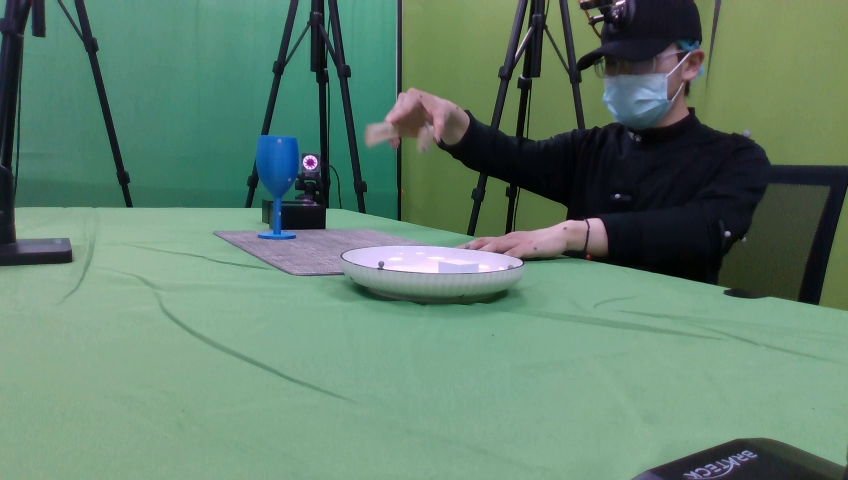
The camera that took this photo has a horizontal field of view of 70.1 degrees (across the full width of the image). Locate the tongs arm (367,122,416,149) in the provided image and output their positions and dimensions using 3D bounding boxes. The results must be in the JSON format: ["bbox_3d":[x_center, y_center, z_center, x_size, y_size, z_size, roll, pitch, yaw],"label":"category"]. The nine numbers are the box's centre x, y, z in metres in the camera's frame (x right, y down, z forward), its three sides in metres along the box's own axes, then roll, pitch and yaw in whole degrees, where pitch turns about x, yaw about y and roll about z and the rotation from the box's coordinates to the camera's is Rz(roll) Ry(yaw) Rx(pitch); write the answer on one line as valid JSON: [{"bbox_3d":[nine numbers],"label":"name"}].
[{"bbox_3d":[-0.046,-0.161,0.909,0.028,0.028,0.387,1,12,5],"label":"tongs arm"}]

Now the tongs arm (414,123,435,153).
[{"bbox_3d":[-0.008,-0.157,0.908,0.051,0.026,0.385,5,12,4],"label":"tongs arm"}]

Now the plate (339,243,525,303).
[{"bbox_3d":[0.008,0.035,0.682,0.209,0.038,0.209,3,7,0],"label":"plate"}]

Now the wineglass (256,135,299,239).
[{"bbox_3d":[-0.252,-0.091,1.036,0.074,0.172,0.073,3,7,0],"label":"wineglass"}]
